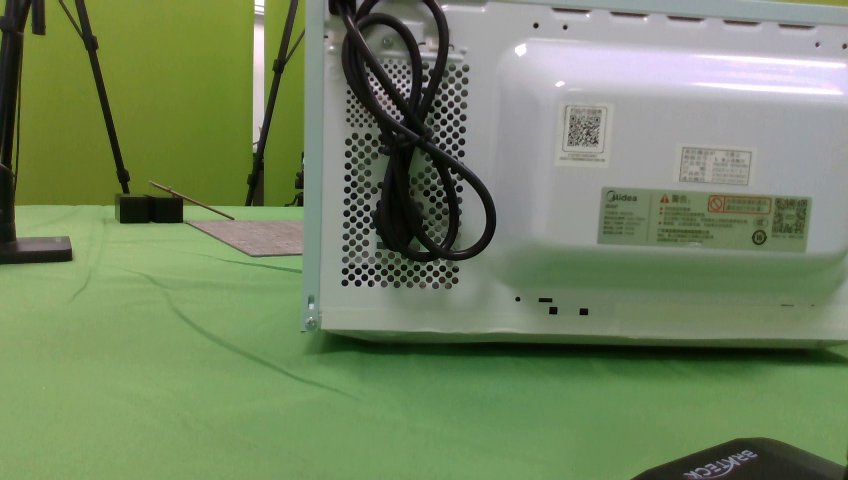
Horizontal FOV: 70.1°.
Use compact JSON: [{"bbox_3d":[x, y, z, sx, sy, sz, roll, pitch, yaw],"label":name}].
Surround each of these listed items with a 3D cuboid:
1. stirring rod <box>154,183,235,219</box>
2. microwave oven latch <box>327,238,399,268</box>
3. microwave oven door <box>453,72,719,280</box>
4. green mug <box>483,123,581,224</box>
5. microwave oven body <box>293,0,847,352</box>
[{"bbox_3d":[-0.472,-0.079,1.252,0.177,0.006,0.014,27,3,-35],"label":"stirring rod"},{"bbox_3d":[-0.069,0.015,0.694,0.079,0.029,0.030,3,7,-3],"label":"microwave oven latch"},{"bbox_3d":[0.195,-0.091,0.815,0.354,0.243,0.039,8,8,39],"label":"microwave oven door"},{"bbox_3d":[0.117,-0.074,0.681,0.124,0.105,0.093,9,7,44],"label":"green mug"},{"bbox_3d":[0.122,-0.055,0.550,0.442,0.260,0.325,3,7,-5],"label":"microwave oven body"}]
